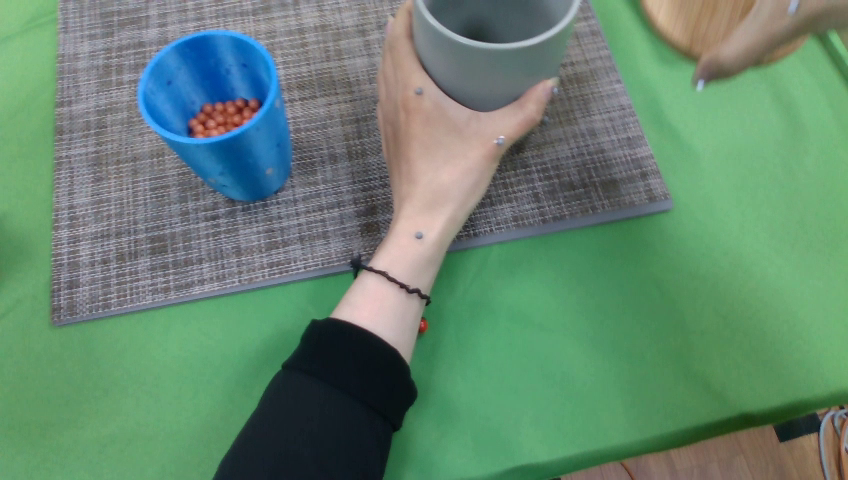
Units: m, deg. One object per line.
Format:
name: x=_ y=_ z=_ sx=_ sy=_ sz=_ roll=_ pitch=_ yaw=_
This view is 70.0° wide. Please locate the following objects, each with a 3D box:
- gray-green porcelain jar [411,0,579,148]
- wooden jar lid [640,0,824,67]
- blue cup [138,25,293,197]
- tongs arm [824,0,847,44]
gray-green porcelain jar: x=0.044 y=-0.135 z=0.429 sx=0.106 sy=0.127 sz=0.105 roll=0 pitch=66 yaw=0
wooden jar lid: x=0.180 y=-0.149 z=0.363 sx=0.108 sy=0.021 sz=0.107 roll=0 pitch=73 yaw=0
blue cup: x=-0.130 y=-0.078 z=0.414 sx=0.092 sy=0.101 sz=0.092 roll=0 pitch=68 yaw=0
tongs arm: x=0.389 y=-0.139 z=0.494 sx=0.051 sy=0.026 sz=0.381 roll=-8 pitch=68 yaw=-11
